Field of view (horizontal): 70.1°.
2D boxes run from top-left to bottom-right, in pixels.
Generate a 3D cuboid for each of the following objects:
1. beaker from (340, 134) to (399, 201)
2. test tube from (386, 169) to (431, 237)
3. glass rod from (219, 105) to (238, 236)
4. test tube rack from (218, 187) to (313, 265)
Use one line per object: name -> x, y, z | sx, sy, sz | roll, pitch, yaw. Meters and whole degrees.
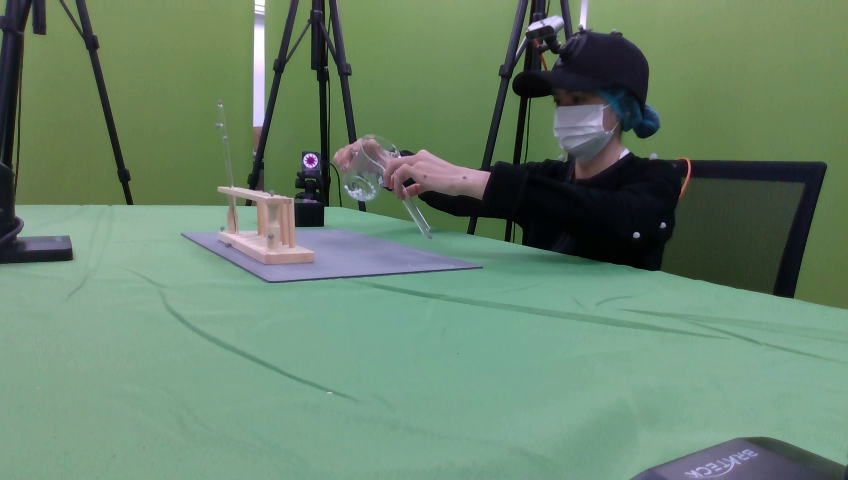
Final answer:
beaker -> -0.095, -0.120, 1.046 | 0.074, 0.083, 0.100 | -3, -34, -37
test tube -> -0.026, -0.059, 0.954 | 0.017, 0.017, 0.149 | -2, 46, -35
glass rod -> -0.294, -0.100, 0.908 | 0.008, 0.199, 0.008 | -3, 12, 1
test tube rack -> -0.235, -0.027, 0.872 | 0.067, 0.085, 0.241 | -1, 8, -32
